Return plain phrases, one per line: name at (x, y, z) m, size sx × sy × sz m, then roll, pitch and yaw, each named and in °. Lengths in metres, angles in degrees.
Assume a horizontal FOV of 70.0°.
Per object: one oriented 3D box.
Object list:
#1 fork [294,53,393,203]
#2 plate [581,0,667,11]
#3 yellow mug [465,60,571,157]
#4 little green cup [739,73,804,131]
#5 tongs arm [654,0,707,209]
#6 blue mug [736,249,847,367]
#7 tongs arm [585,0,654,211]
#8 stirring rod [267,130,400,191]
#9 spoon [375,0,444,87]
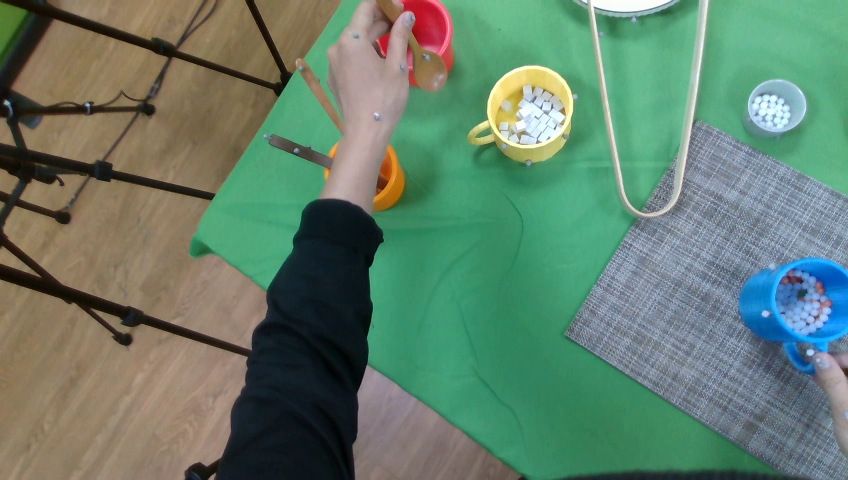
fork at (-0.095, -0.130, 0.727) m, size 0.028 × 0.018 × 0.209 m, roll -29°, pitch 122°, yaw 4°
plate at (0.253, -0.378, 0.749) m, size 0.207 × 0.039 × 0.207 m, roll -1°, pitch 83°, yaw 11°
yellow mug at (0.111, -0.151, 0.734) m, size 0.131 × 0.064 × 0.099 m, roll -21°, pitch 80°, yaw 9°
little green cup at (0.395, -0.155, 0.695) m, size 0.061 × 0.039 × 0.061 m, roll -1°, pitch 83°, yaw 11°
tongs arm at (0.306, -0.225, 0.703) m, size 0.028 × 0.028 × 0.387 m, roll 8°, pitch 91°, yaw 4°
blue mug at (0.387, 0.073, 0.630) m, size 0.082 × 0.106 × 0.116 m, roll -9°, pitch 81°, yaw 10°
tongs arm at (0.223, -0.223, 0.716) m, size 0.051 × 0.026 × 0.384 m, roll -7°, pitch 89°, yaw 7°
stirring rod at (-0.105, -0.094, 0.732) m, size 0.177 × 0.006 × 0.014 m, roll 20°, pitch 81°, yaw -29°
spoon at (-0.019, -0.216, 0.632) m, size 0.021 × 0.195 × 0.041 m, roll 43°, pitch 93°, yaw 22°
